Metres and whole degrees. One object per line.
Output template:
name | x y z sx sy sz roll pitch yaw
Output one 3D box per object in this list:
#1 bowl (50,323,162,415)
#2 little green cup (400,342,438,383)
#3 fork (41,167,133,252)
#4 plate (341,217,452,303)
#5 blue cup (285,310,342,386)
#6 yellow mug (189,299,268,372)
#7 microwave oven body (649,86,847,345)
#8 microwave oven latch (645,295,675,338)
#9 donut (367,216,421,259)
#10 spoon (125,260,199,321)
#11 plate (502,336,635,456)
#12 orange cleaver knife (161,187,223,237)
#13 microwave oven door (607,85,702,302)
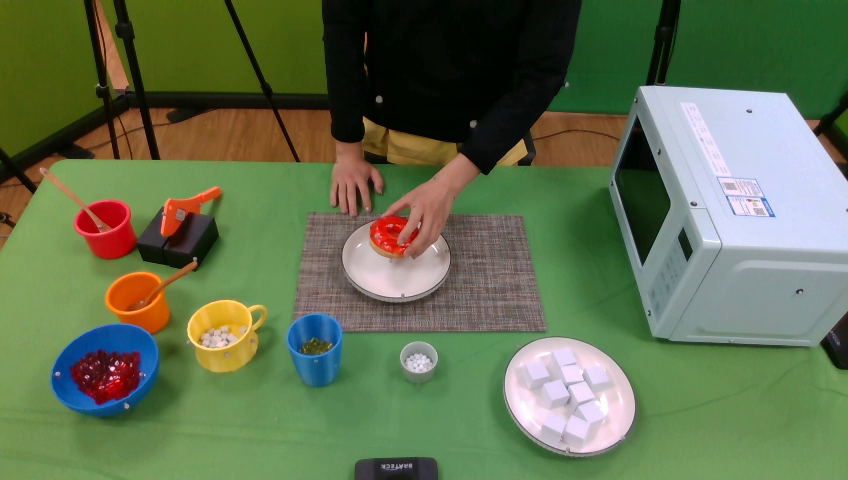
bowl | -0.472 0.209 0.924 0.151 0.077 0.150 3 45 -2
little green cup | -0.010 0.202 0.991 0.061 0.039 0.061 2 47 -2
fork | -0.624 -0.056 1.121 0.208 0.018 0.028 49 51 -15
plate | -0.052 0.039 1.140 0.209 0.038 0.208 2 46 -2
blue cup | -0.170 0.179 0.958 0.093 0.101 0.092 1 44 -1
yellow mug | -0.316 0.148 1.002 0.131 0.064 0.099 -32 56 -31
microwave oven body | 0.568 -0.053 1.118 0.326 0.261 0.439 2 45 -1
microwave oven latch | 0.411 0.134 1.061 0.030 0.029 0.078 3 45 0
donut | -0.054 -0.004 1.102 0.099 0.048 0.098 6 41 -5
spoon | -0.434 0.083 1.000 0.022 0.194 0.041 34 34 -35
plate | 0.225 0.248 0.963 0.208 0.039 0.206 2 46 -2
orange cleaver knife | -0.448 -0.058 1.181 0.012 0.077 0.211 13 17 6
microwave oven door | 0.423 -0.094 1.141 0.039 0.245 0.353 2 46 -1
